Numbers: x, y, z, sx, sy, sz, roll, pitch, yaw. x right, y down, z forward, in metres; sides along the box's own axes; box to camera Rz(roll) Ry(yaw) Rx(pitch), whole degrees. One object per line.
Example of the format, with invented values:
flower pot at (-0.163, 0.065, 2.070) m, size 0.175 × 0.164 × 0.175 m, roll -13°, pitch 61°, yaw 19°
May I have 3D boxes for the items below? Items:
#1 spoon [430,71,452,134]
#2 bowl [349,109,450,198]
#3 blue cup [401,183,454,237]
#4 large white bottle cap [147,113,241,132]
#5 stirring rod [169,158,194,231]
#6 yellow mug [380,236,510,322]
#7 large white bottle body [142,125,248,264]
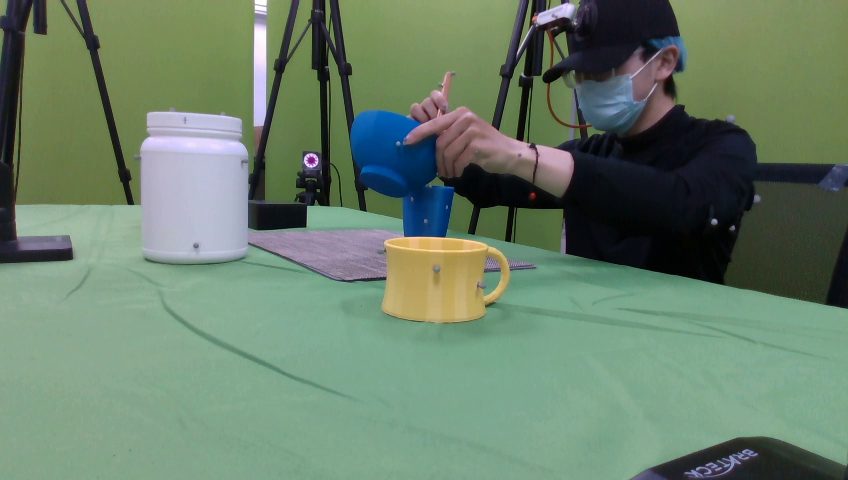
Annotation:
spoon at (0.022, -0.202, 0.985) m, size 0.041 × 0.193 × 0.022 m, roll -8°, pitch -38°, yaw 34°
bowl at (-0.046, -0.113, 0.871) m, size 0.151 × 0.077 × 0.151 m, roll 18°, pitch -18°, yaw 6°
blue cup at (0.003, -0.038, 0.966) m, size 0.093 × 0.100 × 0.092 m, roll 4°, pitch 8°, yaw 0°
large white bottle cap at (-0.297, -0.151, 0.786) m, size 0.115 × 0.018 × 0.115 m, roll 2°, pitch 7°, yaw 0°
stirring rod at (-0.424, -0.082, 1.060) m, size 0.014 × 0.006 × 0.175 m, roll 2°, pitch 50°, yaw -10°
yellow mug at (0.024, 0.034, 0.575) m, size 0.131 × 0.064 × 0.099 m, roll 0°, pitch 7°, yaw -22°
large white bottle body at (-0.300, -0.068, 0.797) m, size 0.131 × 0.184 × 0.130 m, roll 2°, pitch 7°, yaw 0°
